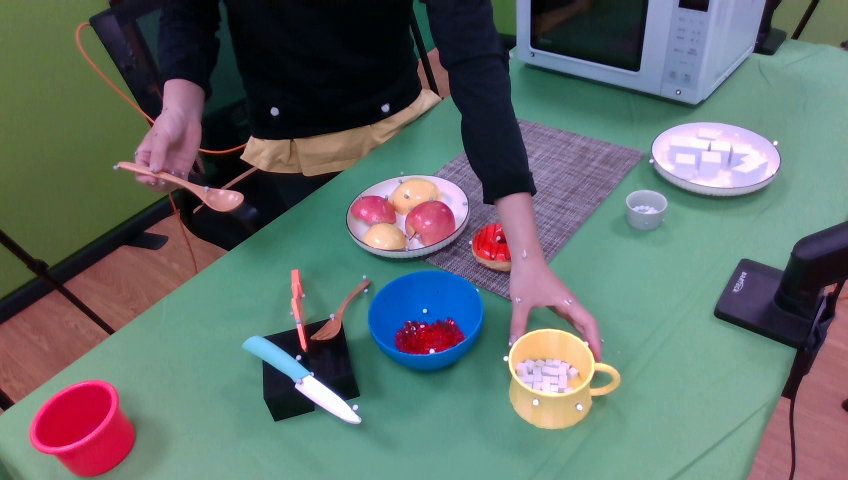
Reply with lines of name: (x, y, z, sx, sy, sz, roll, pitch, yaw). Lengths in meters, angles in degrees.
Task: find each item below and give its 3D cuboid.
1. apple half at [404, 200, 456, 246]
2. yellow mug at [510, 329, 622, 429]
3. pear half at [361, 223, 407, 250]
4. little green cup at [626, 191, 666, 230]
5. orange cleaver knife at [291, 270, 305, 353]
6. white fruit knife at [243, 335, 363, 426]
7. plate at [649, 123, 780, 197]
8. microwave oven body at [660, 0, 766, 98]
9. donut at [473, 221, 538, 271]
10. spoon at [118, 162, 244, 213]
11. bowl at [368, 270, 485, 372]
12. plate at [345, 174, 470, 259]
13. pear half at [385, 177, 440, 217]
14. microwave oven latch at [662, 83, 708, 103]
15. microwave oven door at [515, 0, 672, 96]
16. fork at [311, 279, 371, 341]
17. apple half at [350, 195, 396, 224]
apple half: (0.010, -0.035, 0.969, 0.075, 0.053, 0.080, -27, 40, -22)
yellow mug: (0.168, 0.164, 0.721, 0.131, 0.064, 0.099, 1, 40, 7)
pear half: (-0.063, -0.012, 0.958, 0.071, 0.031, 0.087, 2, 24, -25)
little green cup: (0.352, -0.046, 0.963, 0.061, 0.039, 0.061, -4, 40, 4)
orange cleaver knife: (-0.175, 0.094, 0.844, 0.012, 0.077, 0.210, -11, 14, -10)
white fruit knife: (-0.148, 0.167, 0.730, 0.206, 0.016, 0.027, 26, 79, 31)
plate: (0.497, -0.134, 1.046, 0.207, 0.039, 0.206, -4, 40, 4)
microwave oven body: (0.472, -0.513, 1.317, 0.438, 0.261, 0.327, 26, 51, 34)
donut: (0.123, 0.008, 0.923, 0.099, 0.048, 0.098, -4, 38, 3)
spoon: (-0.346, -0.079, 0.857, 0.193, 0.021, 0.041, 21, 56, 3)
bowl: (0.007, 0.118, 0.791, 0.151, 0.077, 0.150, -5, 40, 4)
plate: (-0.026, -0.036, 1.004, 0.209, 0.038, 0.208, -4, 40, 4)
pear half: (-0.030, -0.079, 1.033, 0.109, 0.056, 0.076, 0, 36, 15)
microwave oven latch: (0.518, -0.296, 1.204, 0.078, 0.029, 0.030, 28, 52, 35)
microwave oven door: (0.343, -0.455, 1.259, 0.353, 0.245, 0.039, 26, 51, 33)
fork: (-0.108, 0.092, 0.832, 0.028, 0.019, 0.207, -7, 19, 15)
apple half: (-0.080, -0.056, 1.008, 0.081, 0.033, 0.081, 10, 24, -4)
